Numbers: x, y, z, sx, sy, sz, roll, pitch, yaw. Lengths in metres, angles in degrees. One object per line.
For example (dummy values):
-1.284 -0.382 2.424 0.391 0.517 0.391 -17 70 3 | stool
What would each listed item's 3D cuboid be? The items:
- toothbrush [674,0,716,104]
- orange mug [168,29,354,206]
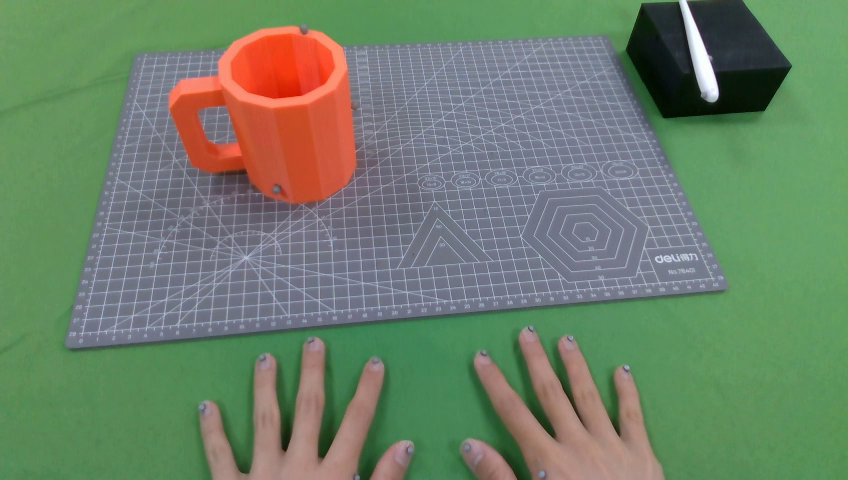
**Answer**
0.231 -0.183 0.527 0.014 0.017 0.180 6 54 -1 | toothbrush
-0.115 -0.086 0.443 0.126 0.101 0.082 -8 55 -14 | orange mug
